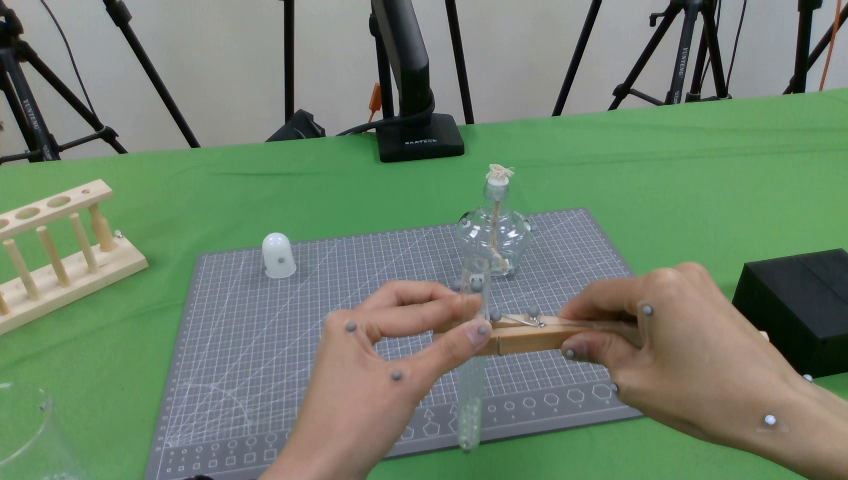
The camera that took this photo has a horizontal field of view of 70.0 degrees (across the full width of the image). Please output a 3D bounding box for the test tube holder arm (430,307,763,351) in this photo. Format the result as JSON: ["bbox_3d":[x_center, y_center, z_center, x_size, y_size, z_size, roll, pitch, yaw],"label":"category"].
[{"bbox_3d":[0.092,0.049,0.335,0.178,0.015,0.013,2,36,5],"label":"test tube holder arm"}]

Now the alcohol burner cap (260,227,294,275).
[{"bbox_3d":[-0.155,0.009,0.629,0.034,0.048,0.033,-2,36,2],"label":"alcohol burner cap"}]

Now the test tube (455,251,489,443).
[{"bbox_3d":[0.027,0.069,0.351,0.017,0.151,0.017,-1,37,1],"label":"test tube"}]

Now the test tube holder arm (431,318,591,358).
[{"bbox_3d":[0.048,0.053,0.331,0.088,0.015,0.010,-6,35,-6],"label":"test tube holder arm"}]

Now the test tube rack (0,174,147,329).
[{"bbox_3d":[-0.411,0.028,0.586,0.242,0.086,0.066,-31,45,-33],"label":"test tube rack"}]

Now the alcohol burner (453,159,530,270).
[{"bbox_3d":[0.069,-0.029,0.609,0.078,0.120,0.077,0,36,0],"label":"alcohol burner"}]

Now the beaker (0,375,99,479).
[{"bbox_3d":[-0.269,0.151,0.398,0.084,0.101,0.073,-3,36,1],"label":"beaker"}]
